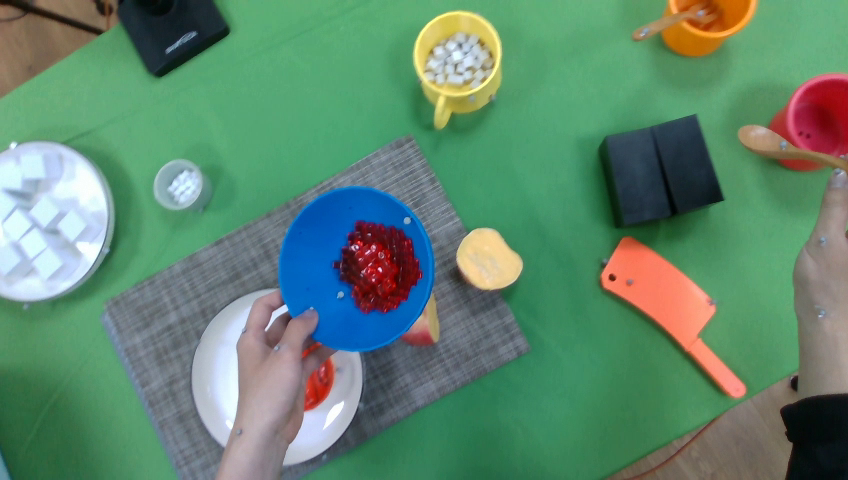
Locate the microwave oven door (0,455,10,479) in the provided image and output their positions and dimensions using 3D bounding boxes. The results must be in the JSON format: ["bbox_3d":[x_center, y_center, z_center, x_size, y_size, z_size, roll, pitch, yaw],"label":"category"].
[{"bbox_3d":[-0.498,0.372,0.621,0.039,0.244,0.354,-27,82,3],"label":"microwave oven door"}]

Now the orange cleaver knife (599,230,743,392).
[{"bbox_3d":[0.289,0.078,0.686,0.077,0.012,0.210,-44,81,-2],"label":"orange cleaver knife"}]

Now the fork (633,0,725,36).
[{"bbox_3d":[0.275,-0.242,0.648,0.207,0.018,0.028,-29,80,-40],"label":"fork"}]

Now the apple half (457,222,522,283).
[{"bbox_3d":[0.069,0.021,0.702,0.081,0.033,0.080,9,59,-15],"label":"apple half"}]

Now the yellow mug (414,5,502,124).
[{"bbox_3d":[0.037,-0.200,0.713,0.100,0.064,0.130,18,88,7],"label":"yellow mug"}]

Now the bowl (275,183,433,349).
[{"bbox_3d":[-0.056,0.024,0.579,0.151,0.077,0.151,0,89,15],"label":"bowl"}]

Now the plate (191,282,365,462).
[{"bbox_3d":[-0.170,0.154,0.719,0.209,0.038,0.208,-1,85,7],"label":"plate"}]

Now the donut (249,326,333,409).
[{"bbox_3d":[-0.154,0.149,0.707,0.099,0.048,0.099,0,88,5],"label":"donut"}]

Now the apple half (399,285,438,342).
[{"bbox_3d":[-0.016,0.077,0.690,0.053,0.075,0.080,-11,87,9],"label":"apple half"}]

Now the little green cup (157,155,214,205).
[{"bbox_3d":[-0.295,-0.072,0.755,0.061,0.039,0.061,-1,85,7],"label":"little green cup"}]

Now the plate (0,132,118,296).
[{"bbox_3d":[-0.484,-0.032,0.774,0.207,0.039,0.207,-1,86,7],"label":"plate"}]

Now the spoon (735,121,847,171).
[{"bbox_3d":[0.332,-0.070,0.510,0.042,0.192,0.022,-7,113,-8],"label":"spoon"}]
